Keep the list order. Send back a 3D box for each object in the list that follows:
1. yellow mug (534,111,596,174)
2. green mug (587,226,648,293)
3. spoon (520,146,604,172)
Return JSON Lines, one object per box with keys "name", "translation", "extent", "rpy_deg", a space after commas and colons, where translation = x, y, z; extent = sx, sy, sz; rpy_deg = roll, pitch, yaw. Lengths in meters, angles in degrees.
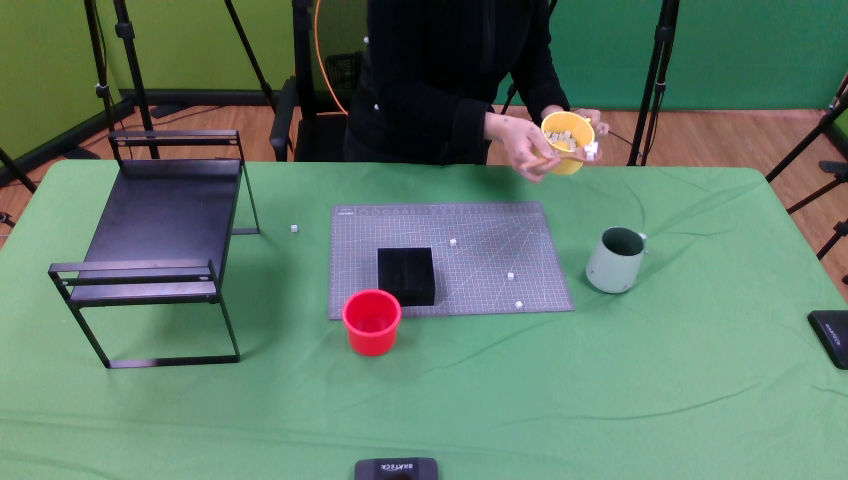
{"name": "yellow mug", "translation": [0.273, -0.191, 1.136], "extent": [0.131, 0.064, 0.099], "rpy_deg": [-34, 67, -25]}
{"name": "green mug", "translation": [0.372, 0.030, 1.136], "extent": [0.125, 0.105, 0.092], "rpy_deg": [-27, 53, -26]}
{"name": "spoon", "translation": [0.230, -0.135, 1.009], "extent": [0.194, 0.022, 0.041], "rpy_deg": [-12, 48, -36]}
